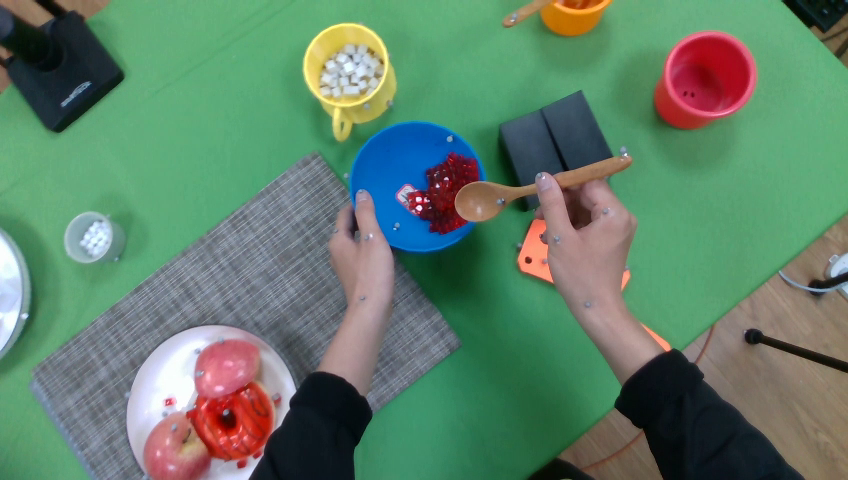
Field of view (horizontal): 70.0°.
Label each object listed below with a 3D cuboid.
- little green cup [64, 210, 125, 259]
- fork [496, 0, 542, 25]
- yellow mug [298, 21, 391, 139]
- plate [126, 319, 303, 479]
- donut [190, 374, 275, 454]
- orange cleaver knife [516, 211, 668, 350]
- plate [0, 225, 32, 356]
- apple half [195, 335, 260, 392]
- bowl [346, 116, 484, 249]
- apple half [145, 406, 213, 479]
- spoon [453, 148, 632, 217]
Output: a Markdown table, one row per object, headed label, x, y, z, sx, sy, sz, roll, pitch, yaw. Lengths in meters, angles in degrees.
| label | x | y | z | sx | sy | sz | roll | pitch | yaw |
| --- | --- | --- | --- | --- | --- | --- | --- | --- | --- |
| little green cup | -0.404 | -0.004 | 0.748 | 0.061 | 0.039 | 0.061 | 0 | 84 | 5 |
| fork | 0.135 | -0.268 | 0.671 | 0.028 | 0.019 | 0.207 | 45 | 46 | 7 |
| yellow mug | -0.095 | -0.186 | 0.725 | 0.100 | 0.064 | 0.130 | 8 | 86 | 5 |
| plate | -0.242 | 0.196 | 0.713 | 0.209 | 0.038 | 0.208 | 0 | 85 | 5 |
| donut | -0.221 | 0.199 | 0.700 | 0.099 | 0.048 | 0.099 | 0 | 89 | 4 |
| orange cleaver knife | 0.200 | 0.046 | 0.704 | 0.211 | 0.012 | 0.077 | 36 | 84 | 8 |
| plate | -0.584 | 0.067 | 0.756 | 0.207 | 0.039 | 0.207 | 0 | 85 | 5 |
| apple half | -0.228 | 0.132 | 0.691 | 0.081 | 0.033 | 0.080 | -8 | 43 | 8 |
| bowl | -0.012 | -0.055 | 0.685 | 0.151 | 0.077 | 0.150 | 2 | 76 | -6 |
| apple half | -0.284 | 0.237 | 0.682 | 0.075 | 0.053 | 0.080 | -42 | 79 | 41 |
| spoon | 0.098 | -0.051 | 0.545 | 0.021 | 0.193 | 0.042 | -34 | 105 | -37 |
